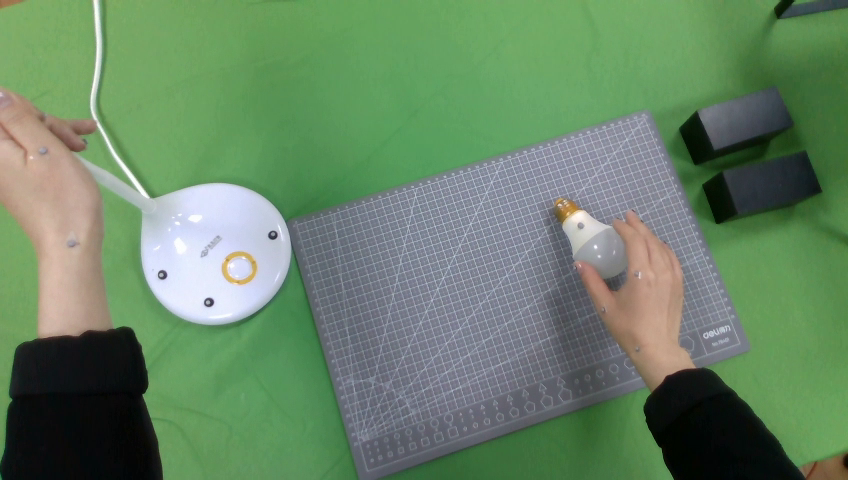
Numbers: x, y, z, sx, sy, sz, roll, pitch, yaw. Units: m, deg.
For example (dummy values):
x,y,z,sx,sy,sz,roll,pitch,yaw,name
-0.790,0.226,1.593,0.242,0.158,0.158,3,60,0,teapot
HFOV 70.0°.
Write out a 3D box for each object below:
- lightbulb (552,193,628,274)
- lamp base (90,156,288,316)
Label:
x,y,z,sx,sy,sz,roll,pitch,yaw,name
0.179,-0.011,0.670,0.059,0.060,0.106,-32,66,-7,lightbulb
-0.242,-0.017,0.600,0.179,0.181,0.160,28,79,7,lamp base
